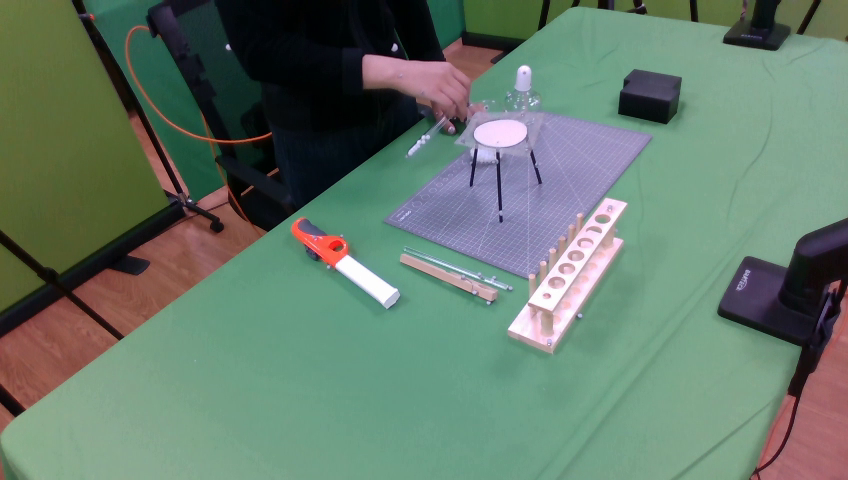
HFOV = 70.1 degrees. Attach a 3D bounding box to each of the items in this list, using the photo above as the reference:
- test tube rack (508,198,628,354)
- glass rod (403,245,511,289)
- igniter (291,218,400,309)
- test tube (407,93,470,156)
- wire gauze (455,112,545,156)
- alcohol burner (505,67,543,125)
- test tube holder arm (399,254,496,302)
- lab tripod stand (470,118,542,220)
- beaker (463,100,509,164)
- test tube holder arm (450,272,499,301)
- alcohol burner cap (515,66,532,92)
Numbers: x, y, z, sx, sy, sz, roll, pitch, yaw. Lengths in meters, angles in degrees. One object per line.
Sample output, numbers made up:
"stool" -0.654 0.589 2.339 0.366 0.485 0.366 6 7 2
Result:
"test tube rack" 0.206 0.039 0.850 0.066 0.085 0.243 20 48 31
"glass rod" 0.047 0.040 0.939 0.198 0.008 0.008 21 49 30
"igniter" -0.136 0.031 0.970 0.057 0.025 0.274 -41 49 -19
"test tube" 0.025 -0.206 1.080 0.150 0.017 0.017 -44 44 5
"wire gauze" 0.124 -0.176 0.973 0.124 0.011 0.121 9 42 20
"alcohol burner" 0.201 -0.293 1.216 0.078 0.119 0.077 -4 41 4
"test tube holder arm" 0.032 0.054 0.914 0.177 0.015 0.013 21 16 32
"lab tripod stand" 0.135 -0.128 1.019 0.148 0.132 0.147 -5 38 5
"beaker" 0.120 -0.200 1.134 0.083 0.101 0.074 5 43 16
"test tube holder arm" 0.071 0.068 0.895 0.087 0.015 0.010 21 16 32
"alcohol burner cap" 0.198 -0.320 1.192 0.034 0.048 0.033 0 47 1
